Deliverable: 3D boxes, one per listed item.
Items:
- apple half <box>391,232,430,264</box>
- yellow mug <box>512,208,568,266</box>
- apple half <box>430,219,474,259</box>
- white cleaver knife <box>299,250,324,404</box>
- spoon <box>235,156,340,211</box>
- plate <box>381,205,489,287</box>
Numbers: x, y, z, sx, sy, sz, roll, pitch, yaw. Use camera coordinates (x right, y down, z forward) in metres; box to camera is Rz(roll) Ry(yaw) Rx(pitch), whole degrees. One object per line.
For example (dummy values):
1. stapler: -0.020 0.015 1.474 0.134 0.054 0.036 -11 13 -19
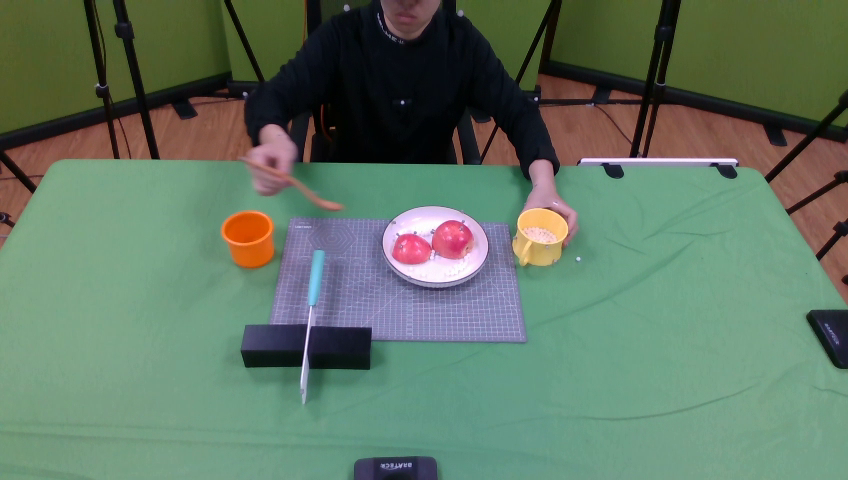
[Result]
1. apple half: -0.024 0.009 1.163 0.081 0.033 0.081 2 43 -2
2. yellow mug: 0.219 0.002 1.182 0.099 0.064 0.130 26 51 21
3. apple half: 0.056 -0.007 1.172 0.081 0.053 0.074 -33 59 -31
4. white cleaver knife: -0.194 0.134 1.019 0.021 0.066 0.284 5 50 -5
5. spoon: -0.228 -0.095 1.022 0.195 0.021 0.041 32 11 -28
6. plate: 0.021 0.015 1.170 0.209 0.038 0.208 2 46 -2
